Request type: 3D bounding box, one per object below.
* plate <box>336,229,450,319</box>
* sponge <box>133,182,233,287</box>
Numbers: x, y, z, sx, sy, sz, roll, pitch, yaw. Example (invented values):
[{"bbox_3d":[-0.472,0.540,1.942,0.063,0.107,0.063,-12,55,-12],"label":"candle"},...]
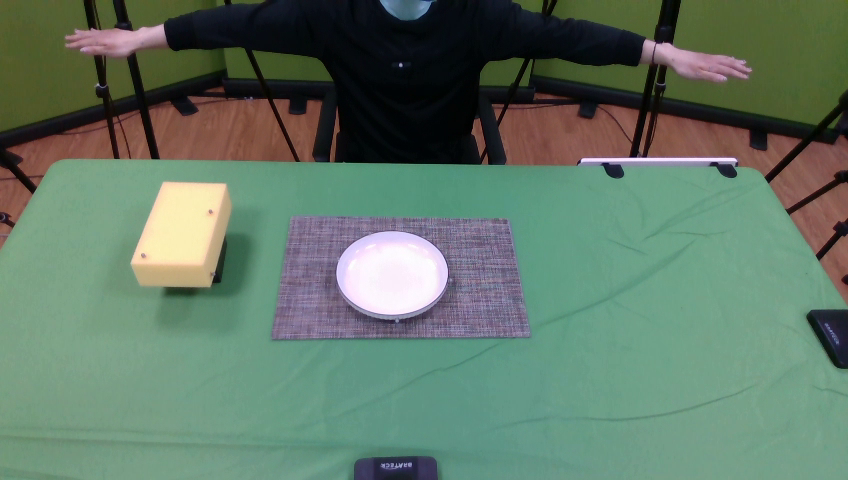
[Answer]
[{"bbox_3d":[-0.056,0.065,1.113,0.208,0.039,0.206,2,46,-2],"label":"plate"},{"bbox_3d":[-0.424,-0.014,1.084,0.118,0.061,0.205,0,46,-3],"label":"sponge"}]
